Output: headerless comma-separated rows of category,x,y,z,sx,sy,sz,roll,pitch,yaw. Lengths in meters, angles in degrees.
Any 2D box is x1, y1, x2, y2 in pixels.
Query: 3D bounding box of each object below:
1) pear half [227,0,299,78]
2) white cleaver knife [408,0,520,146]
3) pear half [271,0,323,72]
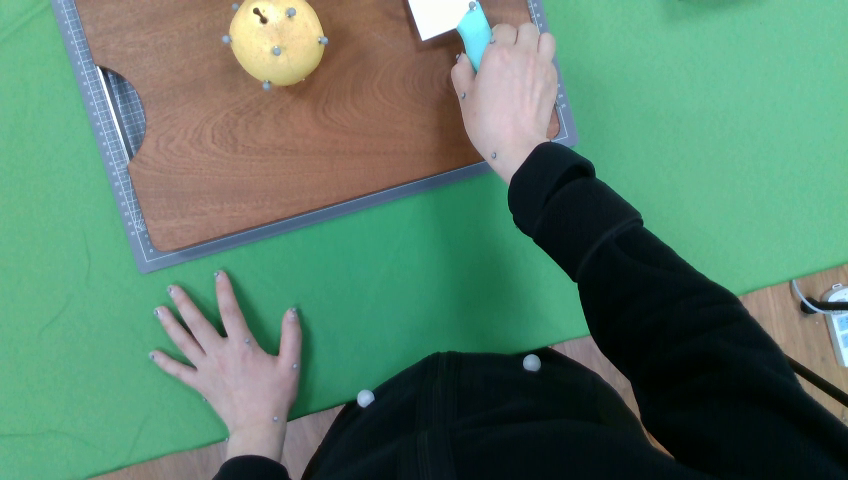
pear half,-0.138,-0.177,0.505,0.056,0.110,0.076,-14,89,0
white cleaver knife,0.019,-0.220,0.545,0.066,0.021,0.286,-19,87,18
pear half,-0.104,-0.184,0.516,0.031,0.088,0.070,-14,89,-1
